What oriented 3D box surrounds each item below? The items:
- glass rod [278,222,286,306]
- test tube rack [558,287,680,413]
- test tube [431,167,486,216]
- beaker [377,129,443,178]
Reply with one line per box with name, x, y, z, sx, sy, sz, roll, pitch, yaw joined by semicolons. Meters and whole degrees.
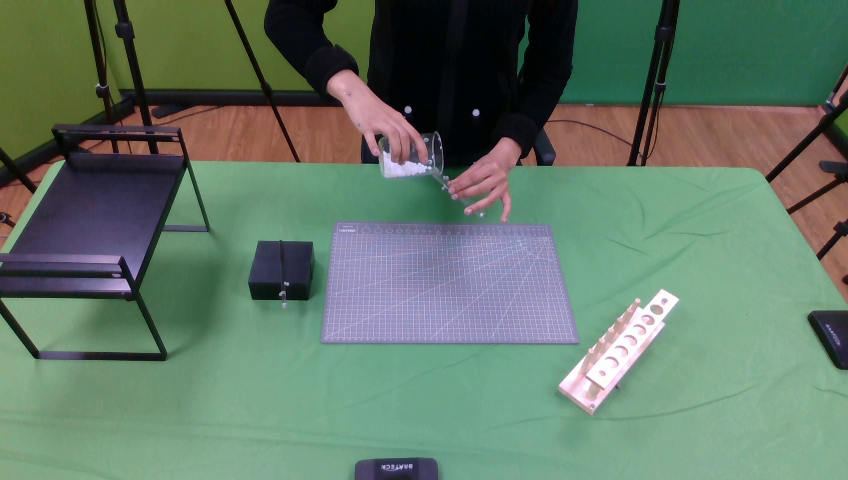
glass rod;-0.255;0.039;1.081;0.008;0.008;0.198;-6;47;-10
test tube rack;0.327;0.170;1.009;0.066;0.085;0.242;36;54;26
test tube;0.065;-0.085;1.092;0.017;0.151;0.017;-26;45;30
beaker;-0.025;-0.141;1.011;0.100;0.084;0.073;-7;47;-10
